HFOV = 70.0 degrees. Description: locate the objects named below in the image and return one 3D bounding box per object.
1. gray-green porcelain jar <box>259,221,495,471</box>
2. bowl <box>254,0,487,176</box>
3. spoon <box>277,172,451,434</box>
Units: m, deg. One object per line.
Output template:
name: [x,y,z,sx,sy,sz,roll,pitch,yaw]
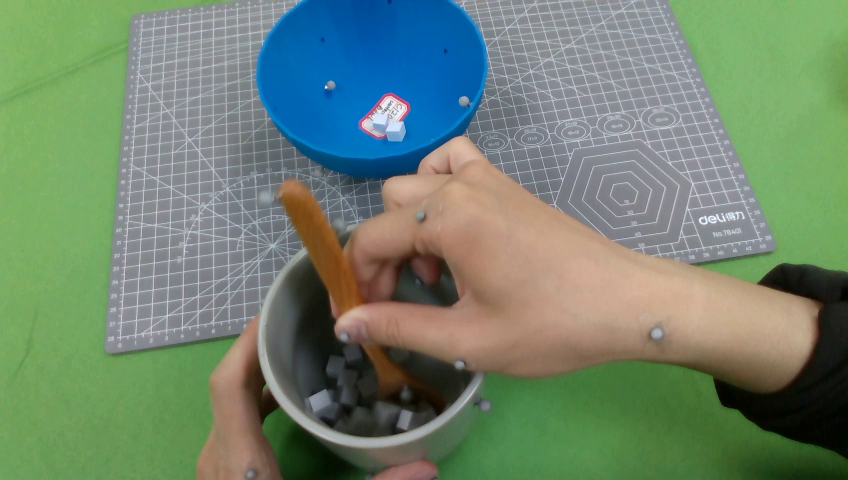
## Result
gray-green porcelain jar: [-0.018,0.064,0.323,0.106,0.127,0.105,-1,64,2]
bowl: [-0.033,-0.099,0.424,0.151,0.077,0.150,-1,64,1]
spoon: [-0.023,0.046,0.282,0.041,0.196,0.021,-13,45,6]
